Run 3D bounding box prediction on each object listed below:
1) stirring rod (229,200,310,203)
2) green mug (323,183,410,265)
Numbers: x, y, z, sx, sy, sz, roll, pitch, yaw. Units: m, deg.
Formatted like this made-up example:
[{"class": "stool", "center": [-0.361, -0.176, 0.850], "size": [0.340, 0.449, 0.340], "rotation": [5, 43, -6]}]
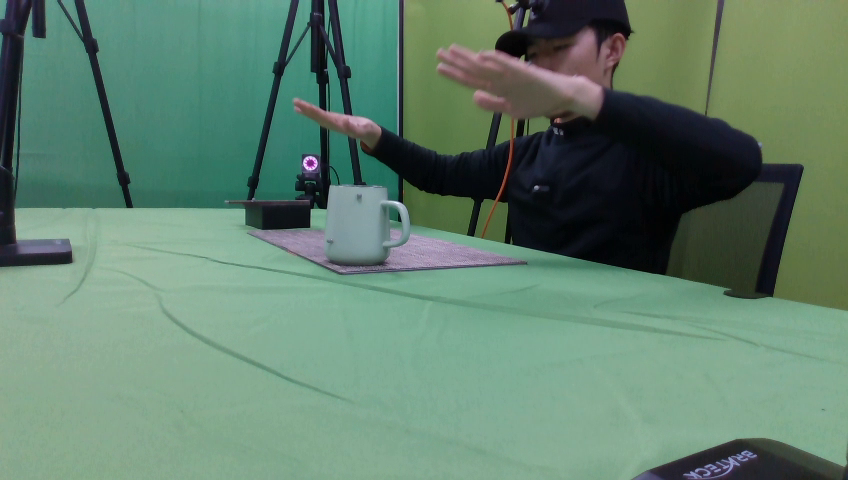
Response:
[{"class": "stirring rod", "center": [-0.314, -0.080, 1.240], "size": [0.177, 0.006, 0.014], "rotation": [-4, 8, -40]}, {"class": "green mug", "center": [-0.076, -0.022, 0.817], "size": [0.125, 0.105, 0.093], "rotation": [5, 7, 26]}]
